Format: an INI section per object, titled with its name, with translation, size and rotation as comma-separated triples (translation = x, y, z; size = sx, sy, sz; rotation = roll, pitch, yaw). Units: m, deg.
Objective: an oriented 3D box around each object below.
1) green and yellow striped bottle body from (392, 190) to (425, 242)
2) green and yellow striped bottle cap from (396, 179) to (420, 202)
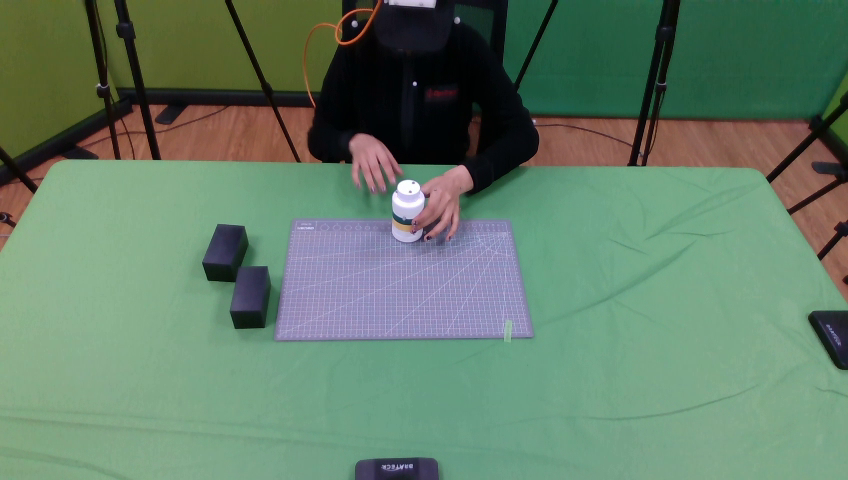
[green and yellow striped bottle body]
translation = -0.030, -0.058, 1.178
size = 0.063, 0.120, 0.063
rotation = 2, 46, -2
[green and yellow striped bottle cap]
translation = -0.030, -0.094, 1.141
size = 0.045, 0.020, 0.045
rotation = 3, 46, -3
